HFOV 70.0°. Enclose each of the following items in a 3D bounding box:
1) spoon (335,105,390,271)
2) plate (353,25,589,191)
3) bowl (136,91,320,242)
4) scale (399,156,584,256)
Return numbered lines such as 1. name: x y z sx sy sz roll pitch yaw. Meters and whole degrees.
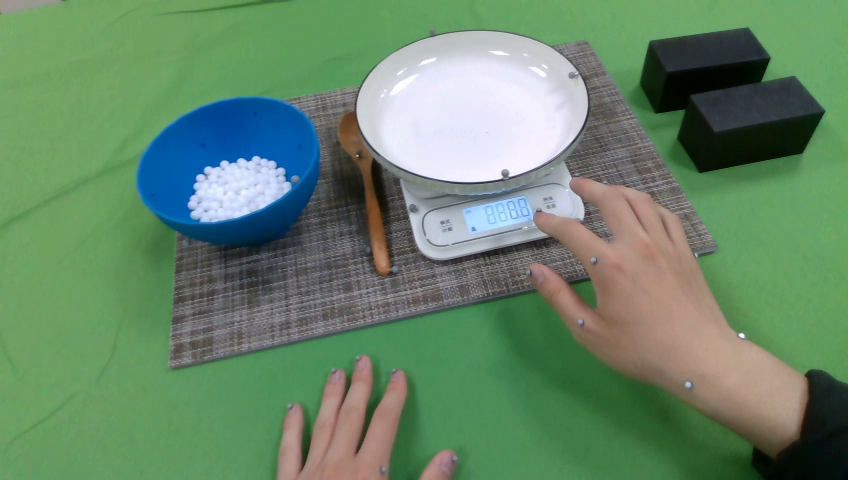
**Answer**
1. spoon: -0.053 -0.054 0.555 0.042 0.022 0.191 -3 52 -13
2. plate: 0.041 -0.119 0.548 0.209 0.038 0.207 -2 53 3
3. bowl: -0.158 -0.051 0.529 0.151 0.077 0.150 -2 53 4
4. scale: 0.048 -0.081 0.560 0.149 0.032 0.198 -12 53 -3
